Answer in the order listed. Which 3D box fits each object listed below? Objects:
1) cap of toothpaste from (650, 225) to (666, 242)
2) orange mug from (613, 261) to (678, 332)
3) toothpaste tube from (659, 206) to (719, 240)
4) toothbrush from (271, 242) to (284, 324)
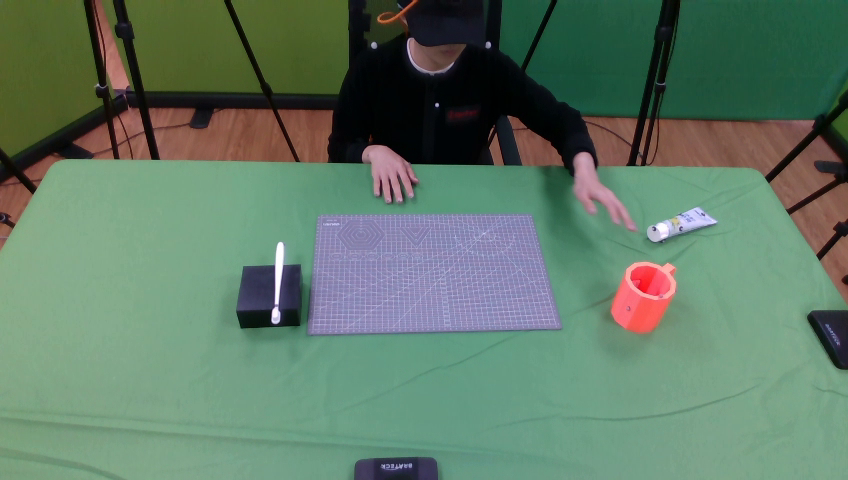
[{"bbox_3d":[0.473,-0.015,1.226,0.011,0.037,0.037,-19,50,-26],"label":"cap of toothpaste"},{"bbox_3d":[0.403,0.091,1.078,0.126,0.101,0.083,-33,56,-25],"label":"orange mug"},{"bbox_3d":[0.542,-0.035,1.259,0.165,0.034,0.054,-19,54,-26],"label":"toothpaste tube"},{"bbox_3d":[-0.253,0.068,1.048,0.014,0.017,0.180,-5,46,-4],"label":"toothbrush"}]
